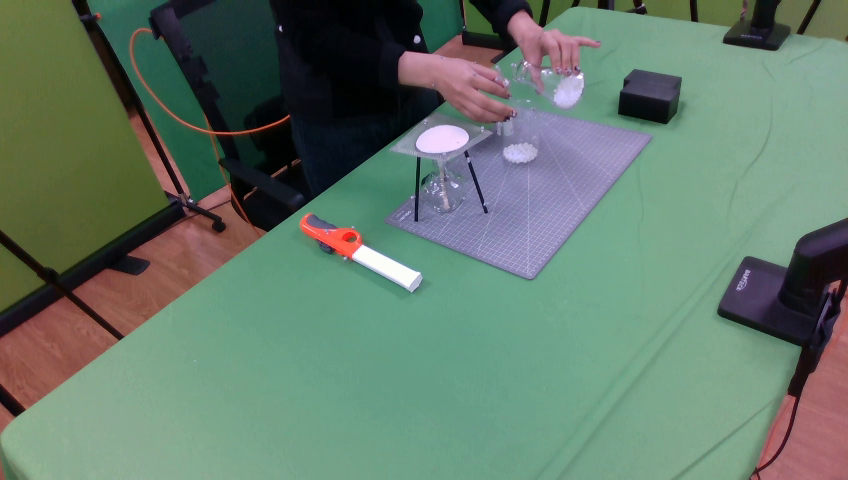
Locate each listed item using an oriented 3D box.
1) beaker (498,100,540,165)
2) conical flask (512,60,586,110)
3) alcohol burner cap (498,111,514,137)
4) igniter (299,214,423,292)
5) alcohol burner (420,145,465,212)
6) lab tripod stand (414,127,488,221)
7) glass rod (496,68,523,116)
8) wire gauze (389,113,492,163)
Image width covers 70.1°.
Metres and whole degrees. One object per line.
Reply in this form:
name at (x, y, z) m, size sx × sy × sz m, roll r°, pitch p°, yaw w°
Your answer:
beaker at (0.180, -0.196, 1.117) m, size 0.074 × 0.101 × 0.083 m, roll -25°, pitch 43°, yaw -17°
conical flask at (0.214, -0.277, 1.051) m, size 0.123 × 0.075 × 0.075 m, roll 12°, pitch 34°, yaw -24°
alcohol burner cap at (0.163, -0.235, 1.211) m, size 0.034 × 0.048 × 0.033 m, roll -6°, pitch 40°, yaw 6°
igniter at (-0.112, 0.016, 0.983) m, size 0.274 × 0.025 × 0.057 m, roll 26°, pitch 62°, yaw 35°
alcohol burner at (0.030, -0.108, 1.030) m, size 0.078 × 0.119 × 0.077 m, roll -5°, pitch 38°, yaw 4°
lab tripod stand at (0.035, -0.114, 1.021) m, size 0.148 × 0.132 × 0.147 m, roll -7°, pitch 39°, yaw 6°
glass rod at (0.148, -0.250, 1.035) m, size 0.008 × 0.201 × 0.008 m, roll -4°, pitch 79°, yaw 19°
wire gauze at (0.026, -0.164, 0.977) m, size 0.120 × 0.011 × 0.125 m, roll 24°, pitch 49°, yaw 35°
